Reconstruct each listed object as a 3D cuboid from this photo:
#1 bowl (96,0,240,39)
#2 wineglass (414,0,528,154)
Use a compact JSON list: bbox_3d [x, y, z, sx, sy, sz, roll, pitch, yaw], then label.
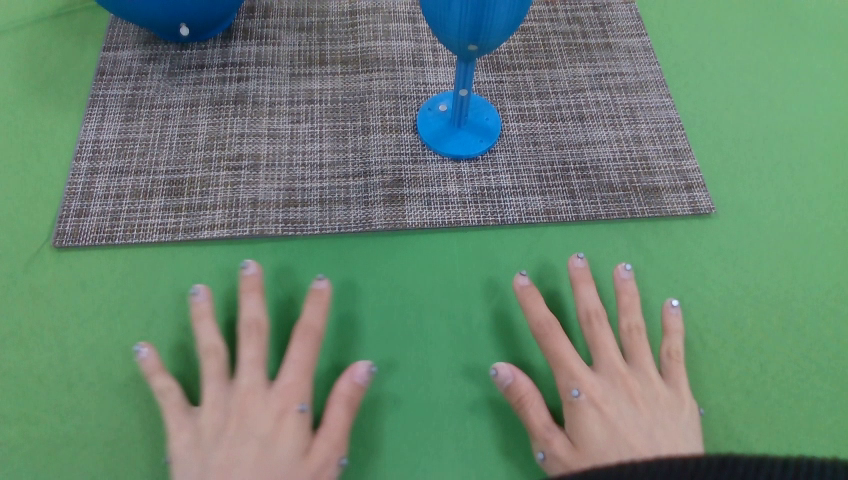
[{"bbox_3d":[-0.194,-0.213,0.472,0.151,0.077,0.150,2,60,-2],"label":"bowl"},{"bbox_3d":[0.027,-0.134,0.384,0.074,0.173,0.073,1,60,-2],"label":"wineglass"}]
